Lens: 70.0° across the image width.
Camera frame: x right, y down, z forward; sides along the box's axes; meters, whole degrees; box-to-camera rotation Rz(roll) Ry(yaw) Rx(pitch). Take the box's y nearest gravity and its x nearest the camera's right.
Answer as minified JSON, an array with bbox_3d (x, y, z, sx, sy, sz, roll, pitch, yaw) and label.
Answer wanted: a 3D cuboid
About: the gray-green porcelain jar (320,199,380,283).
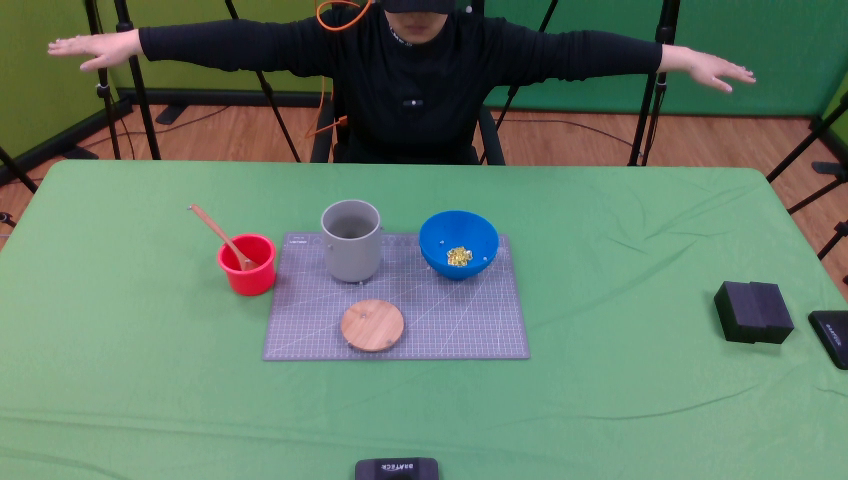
[{"bbox_3d":[-0.133,0.007,1.106,0.106,0.127,0.105,2,46,-2],"label":"gray-green porcelain jar"}]

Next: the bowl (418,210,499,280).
[{"bbox_3d":[0.062,0.022,1.140,0.151,0.077,0.150,2,46,-2],"label":"bowl"}]

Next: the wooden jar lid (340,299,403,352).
[{"bbox_3d":[-0.090,0.150,1.046,0.108,0.021,0.107,3,47,-3],"label":"wooden jar lid"}]

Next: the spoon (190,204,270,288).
[{"bbox_3d":[-0.345,0.009,1.079,0.194,0.021,0.041,54,52,-15],"label":"spoon"}]
